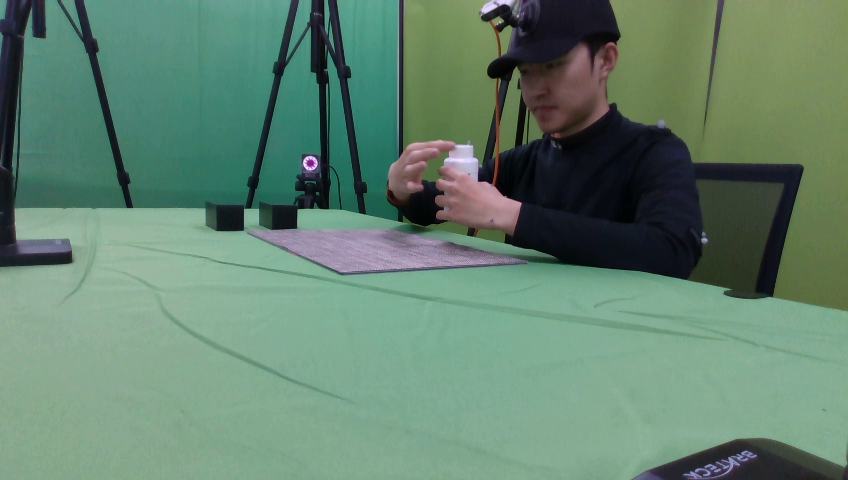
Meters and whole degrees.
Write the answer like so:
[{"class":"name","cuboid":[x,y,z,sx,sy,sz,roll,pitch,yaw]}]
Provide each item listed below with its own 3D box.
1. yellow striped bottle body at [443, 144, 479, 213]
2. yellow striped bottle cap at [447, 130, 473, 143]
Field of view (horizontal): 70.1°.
[{"class":"yellow striped bottle body","cuboid":[0.066,-0.112,1.084,0.063,0.120,0.063,1,13,0]},{"class":"yellow striped bottle cap","cuboid":[0.064,-0.185,1.074,0.044,0.018,0.044,-8,10,2]}]
